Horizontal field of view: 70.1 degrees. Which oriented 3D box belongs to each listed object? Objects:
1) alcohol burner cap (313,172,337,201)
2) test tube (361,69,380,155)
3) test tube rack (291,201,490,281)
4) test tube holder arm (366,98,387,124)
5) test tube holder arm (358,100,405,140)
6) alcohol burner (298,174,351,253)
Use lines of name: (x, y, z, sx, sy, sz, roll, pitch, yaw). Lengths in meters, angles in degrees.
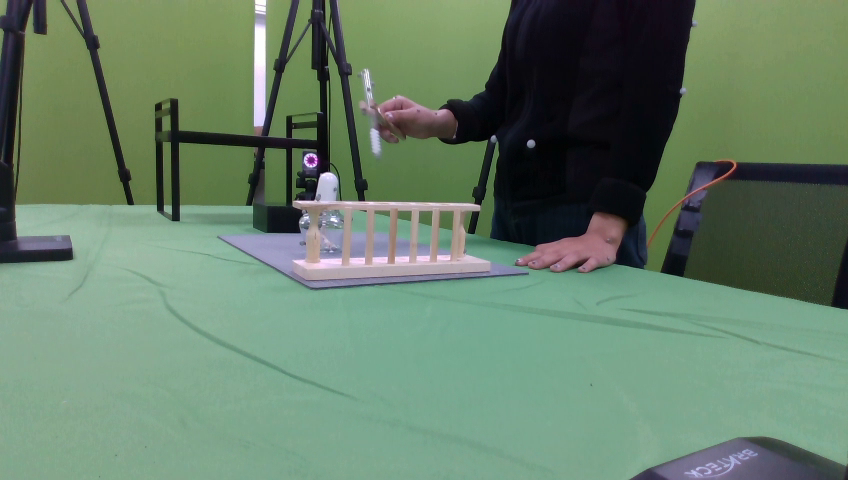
alcohol burner cap: (-0.144, -0.076, 0.888, 0.034, 0.048, 0.034, 8, 6, -1)
test tube: (-0.088, -0.211, 0.996, 0.017, 0.150, 0.017, -8, -10, -1)
test tube rack: (-0.035, -0.002, 0.745, 0.243, 0.085, 0.066, -1, 8, -28)
test tube holder arm: (-0.079, -0.216, 1.018, 0.010, 0.015, 0.088, -8, -11, 11)
test tube holder arm: (-0.071, -0.208, 1.062, 0.013, 0.015, 0.179, -9, -11, 18)
alcohol burner: (-0.146, -0.040, 0.894, 0.078, 0.119, 0.078, 5, 7, 0)
